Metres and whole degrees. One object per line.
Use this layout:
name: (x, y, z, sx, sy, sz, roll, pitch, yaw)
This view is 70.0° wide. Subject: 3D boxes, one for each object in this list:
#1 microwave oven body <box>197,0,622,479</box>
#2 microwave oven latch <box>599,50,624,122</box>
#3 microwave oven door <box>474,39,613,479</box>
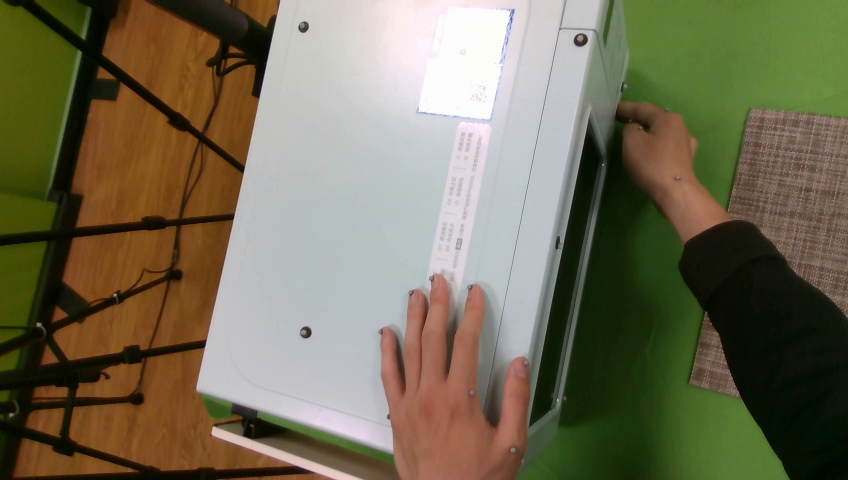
microwave oven body: (-0.003, -0.034, 0.630, 0.324, 0.262, 0.441, 10, 88, 21)
microwave oven latch: (0.203, -0.171, 0.673, 0.030, 0.030, 0.079, 12, 88, 21)
microwave oven door: (0.121, 0.030, 0.570, 0.039, 0.245, 0.355, 10, 87, 22)
